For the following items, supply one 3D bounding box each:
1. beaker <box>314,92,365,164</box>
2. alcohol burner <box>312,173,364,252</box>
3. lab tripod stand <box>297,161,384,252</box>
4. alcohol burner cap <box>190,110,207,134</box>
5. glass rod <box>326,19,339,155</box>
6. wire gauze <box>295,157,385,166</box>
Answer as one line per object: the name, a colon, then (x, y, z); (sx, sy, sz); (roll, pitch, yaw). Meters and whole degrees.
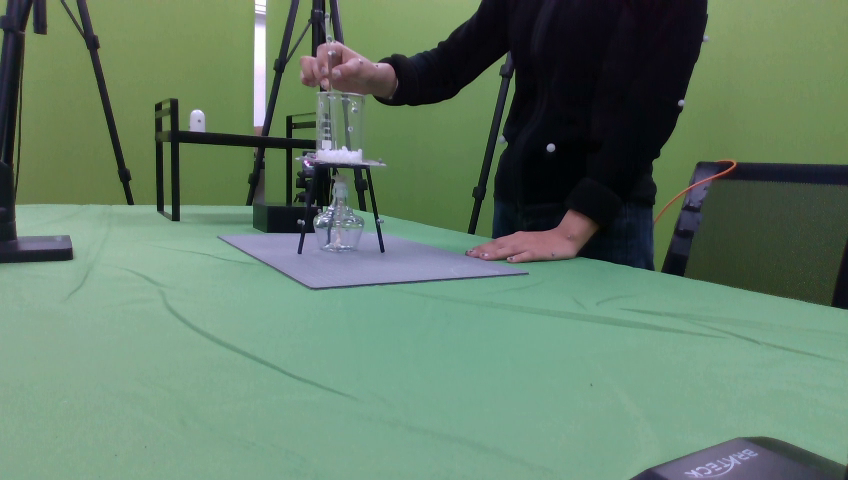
beaker: (-0.123, -0.163, 0.893); (0.073, 0.100, 0.084); (8, 9, 31)
alcohol burner: (-0.129, -0.042, 0.910); (0.078, 0.119, 0.078); (4, 8, 0)
lab tripod stand: (-0.130, -0.051, 0.903); (0.148, 0.131, 0.148); (3, 9, 0)
alcohol burner cap: (-0.463, -0.242, 1.240); (0.034, 0.048, 0.034); (2, 7, 0)
glass rod: (-0.136, -0.227, 0.900); (0.008, 0.199, 0.008); (-3, 6, 1)
wire gauze: (-0.128, -0.117, 0.900); (0.125, 0.011, 0.121); (-1, 7, -14)
